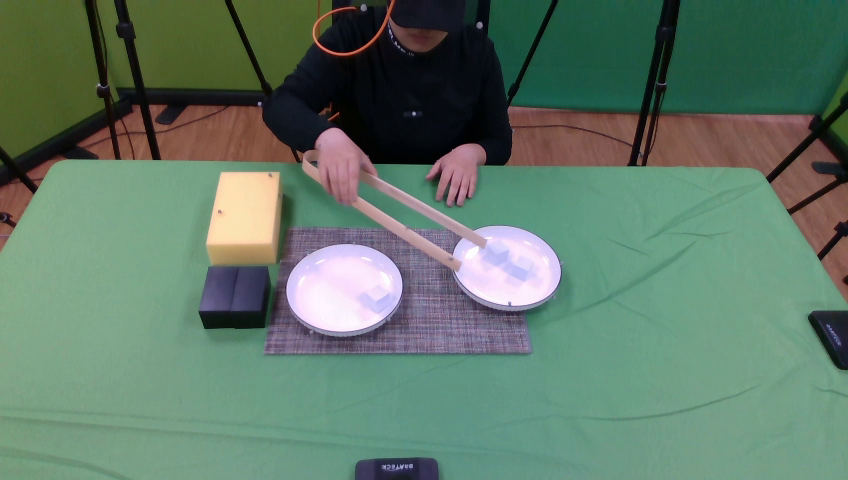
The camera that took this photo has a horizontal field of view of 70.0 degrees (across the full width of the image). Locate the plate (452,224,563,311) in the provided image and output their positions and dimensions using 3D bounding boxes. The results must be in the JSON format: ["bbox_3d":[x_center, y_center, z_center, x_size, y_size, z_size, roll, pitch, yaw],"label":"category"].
[{"bbox_3d":[0.154,0.054,1.140,0.209,0.038,0.208,2,46,-2],"label":"plate"}]

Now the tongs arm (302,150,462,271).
[{"bbox_3d":[-0.082,-0.060,1.094,0.383,0.026,0.050,31,44,18],"label":"tongs arm"}]

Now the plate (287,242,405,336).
[{"bbox_3d":[-0.138,0.090,1.085,0.208,0.039,0.206,2,46,-2],"label":"plate"}]

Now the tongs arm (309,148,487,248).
[{"bbox_3d":[-0.054,-0.082,1.129,0.386,0.028,0.028,29,46,15],"label":"tongs arm"}]

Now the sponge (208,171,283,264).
[{"bbox_3d":[-0.346,-0.048,1.191,0.118,0.061,0.205,-2,46,-7],"label":"sponge"}]
